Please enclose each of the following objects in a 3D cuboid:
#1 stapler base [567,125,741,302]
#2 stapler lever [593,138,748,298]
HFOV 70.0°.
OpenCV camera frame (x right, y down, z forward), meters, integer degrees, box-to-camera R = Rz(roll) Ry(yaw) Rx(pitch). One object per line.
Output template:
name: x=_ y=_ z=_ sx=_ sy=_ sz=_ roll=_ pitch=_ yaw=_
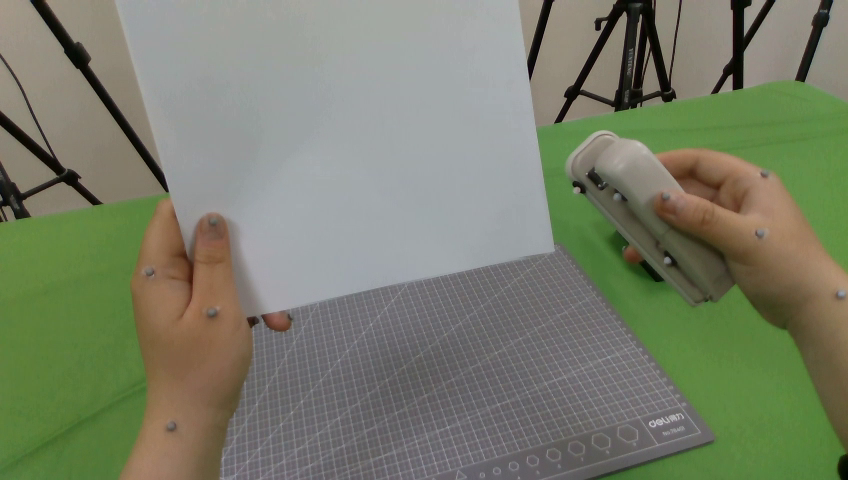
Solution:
stapler base: x=0.146 y=-0.016 z=0.380 sx=0.041 sy=0.131 sz=0.024 roll=-45 pitch=6 yaw=9
stapler lever: x=0.146 y=-0.012 z=0.356 sx=0.027 sy=0.118 sz=0.040 roll=-45 pitch=5 yaw=9
